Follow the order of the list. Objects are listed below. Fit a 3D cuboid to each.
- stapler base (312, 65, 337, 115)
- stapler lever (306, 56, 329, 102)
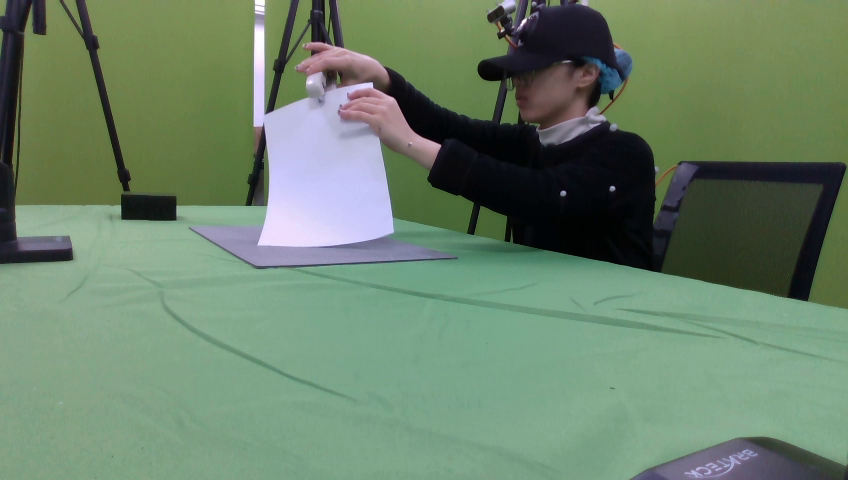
[{"bbox_3d":[-0.179,-0.274,1.074,0.041,0.024,0.130,-10,49,8],"label":"stapler base"},{"bbox_3d":[-0.186,-0.289,1.058,0.027,0.117,0.040,-11,-39,8],"label":"stapler lever"}]
